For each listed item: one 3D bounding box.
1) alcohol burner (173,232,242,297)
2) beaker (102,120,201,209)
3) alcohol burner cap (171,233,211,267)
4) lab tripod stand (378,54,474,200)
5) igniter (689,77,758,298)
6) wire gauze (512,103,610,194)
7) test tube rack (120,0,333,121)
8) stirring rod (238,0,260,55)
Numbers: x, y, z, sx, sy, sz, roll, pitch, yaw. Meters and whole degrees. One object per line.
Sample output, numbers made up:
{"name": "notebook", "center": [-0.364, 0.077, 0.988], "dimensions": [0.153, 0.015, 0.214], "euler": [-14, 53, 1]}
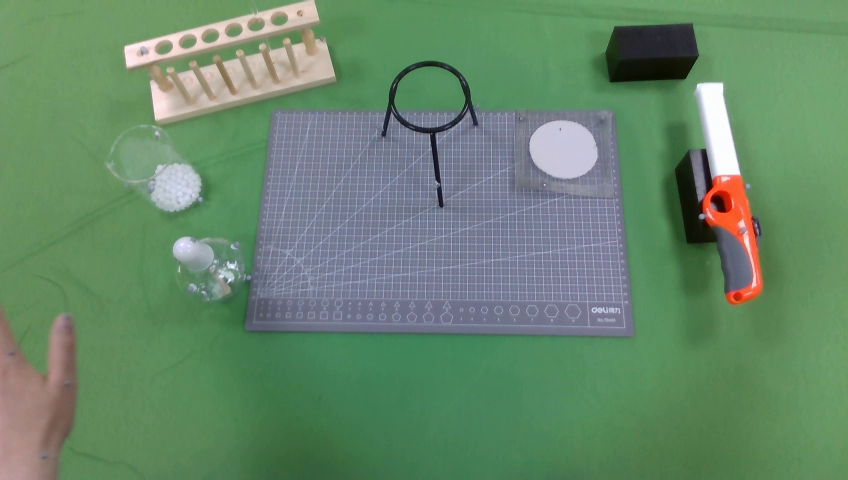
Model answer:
{"name": "alcohol burner", "center": [-0.249, 0.022, 0.682], "dimensions": [0.078, 0.120, 0.077], "euler": [0, 68, 1]}
{"name": "beaker", "center": [-0.322, -0.085, 0.729], "dimensions": [0.084, 0.101, 0.073], "euler": [-12, 70, -2]}
{"name": "alcohol burner cap", "center": [-0.252, 0.009, 0.647], "dimensions": [0.034, 0.048, 0.033], "euler": [0, 73, 1]}
{"name": "lab tripod stand", "center": [0.007, -0.138, 0.714], "dimensions": [0.148, 0.132, 0.147], "euler": [0, 71, 0]}
{"name": "igniter", "center": [0.337, -0.066, 0.687], "dimensions": [0.057, 0.025, 0.274], "euler": [-1, 68, 5]}
{"name": "wire gauze", "center": [0.174, -0.120, 0.769], "dimensions": [0.125, 0.011, 0.120], "euler": [5, 70, 1]}
{"name": "test tube rack", "center": [-0.250, -0.233, 0.785], "dimensions": [0.242, 0.086, 0.066], "euler": [-15, 70, -4]}
{"name": "stirring rod", "center": [-0.217, -0.291, 0.721], "dimensions": [0.014, 0.177, 0.005], "euler": [7, 58, 4]}
